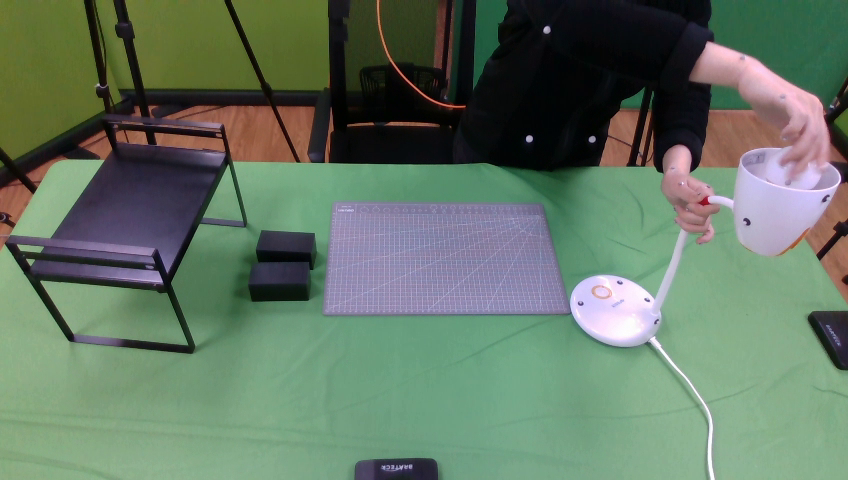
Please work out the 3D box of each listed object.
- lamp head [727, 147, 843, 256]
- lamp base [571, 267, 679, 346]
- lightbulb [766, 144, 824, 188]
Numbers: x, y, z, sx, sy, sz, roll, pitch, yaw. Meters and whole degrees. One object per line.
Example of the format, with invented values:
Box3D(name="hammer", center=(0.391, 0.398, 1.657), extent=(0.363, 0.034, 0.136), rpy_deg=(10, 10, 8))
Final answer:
Box3D(name="lamp head", center=(0.437, -0.044, 0.759), extent=(0.112, 0.123, 0.111), rpy_deg=(1, 39, -1))
Box3D(name="lamp base", center=(0.359, 0.077, 1.038), extent=(0.160, 0.181, 0.178), rpy_deg=(-34, 59, -31))
Box3D(name="lightbulb", center=(0.445, -0.065, 0.739), extent=(0.059, 0.108, 0.059), rpy_deg=(-1, 32, 1))
